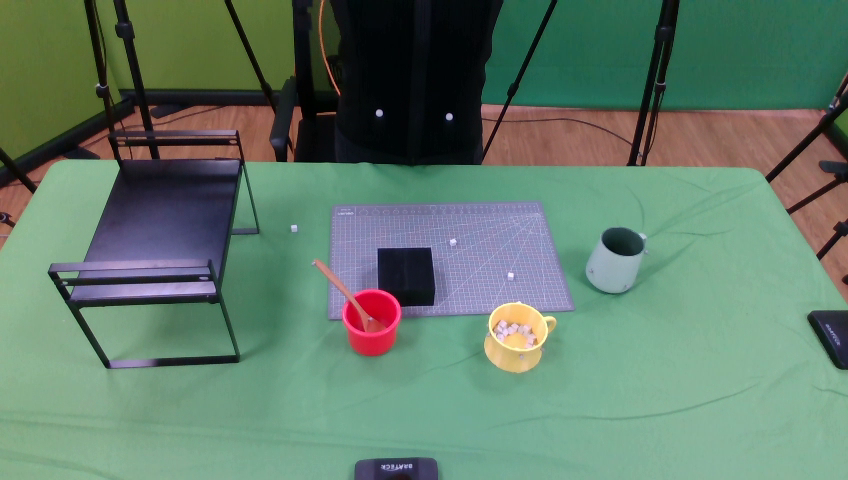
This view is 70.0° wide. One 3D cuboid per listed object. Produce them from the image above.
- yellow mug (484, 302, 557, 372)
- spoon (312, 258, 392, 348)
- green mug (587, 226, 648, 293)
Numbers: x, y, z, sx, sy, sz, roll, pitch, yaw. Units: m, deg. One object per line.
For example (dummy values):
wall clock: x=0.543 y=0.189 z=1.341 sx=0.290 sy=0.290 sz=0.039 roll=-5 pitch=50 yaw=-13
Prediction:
yellow mug: x=0.169 y=0.159 z=1.026 sx=0.131 sy=0.064 sz=0.099 roll=-16 pitch=49 yaw=-19
spoon: x=-0.119 y=0.103 z=1.005 sx=0.194 sy=0.021 sz=0.041 roll=54 pitch=50 yaw=-14
green mug: x=0.371 y=0.030 z=1.136 sx=0.125 sy=0.105 sz=0.092 roll=-27 pitch=53 yaw=-27
